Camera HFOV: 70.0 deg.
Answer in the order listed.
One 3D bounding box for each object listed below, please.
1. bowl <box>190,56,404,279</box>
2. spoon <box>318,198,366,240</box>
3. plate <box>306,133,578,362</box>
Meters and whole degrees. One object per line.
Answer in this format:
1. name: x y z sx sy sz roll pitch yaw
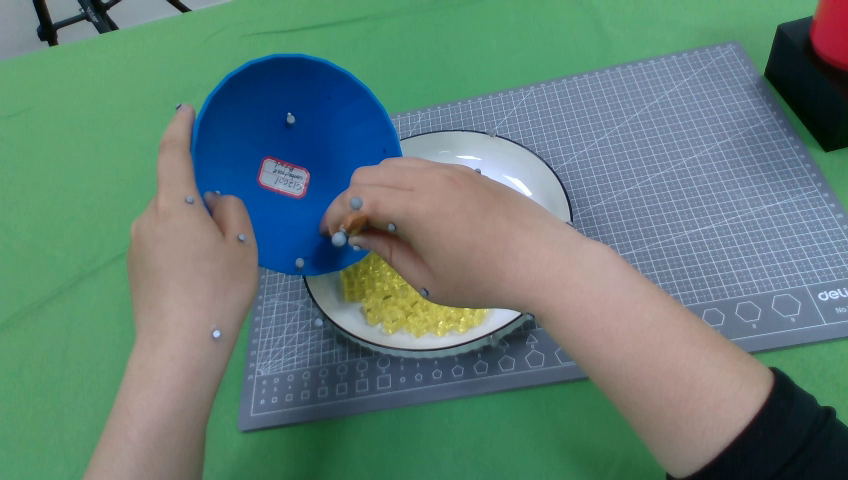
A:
1. bowl: -0.098 -0.048 0.440 0.151 0.152 0.076 -51 25 -23
2. spoon: -0.045 -0.010 0.361 0.041 0.022 0.193 -40 11 -6
3. plate: 0.012 0.002 0.468 0.207 0.039 0.205 -7 53 9
